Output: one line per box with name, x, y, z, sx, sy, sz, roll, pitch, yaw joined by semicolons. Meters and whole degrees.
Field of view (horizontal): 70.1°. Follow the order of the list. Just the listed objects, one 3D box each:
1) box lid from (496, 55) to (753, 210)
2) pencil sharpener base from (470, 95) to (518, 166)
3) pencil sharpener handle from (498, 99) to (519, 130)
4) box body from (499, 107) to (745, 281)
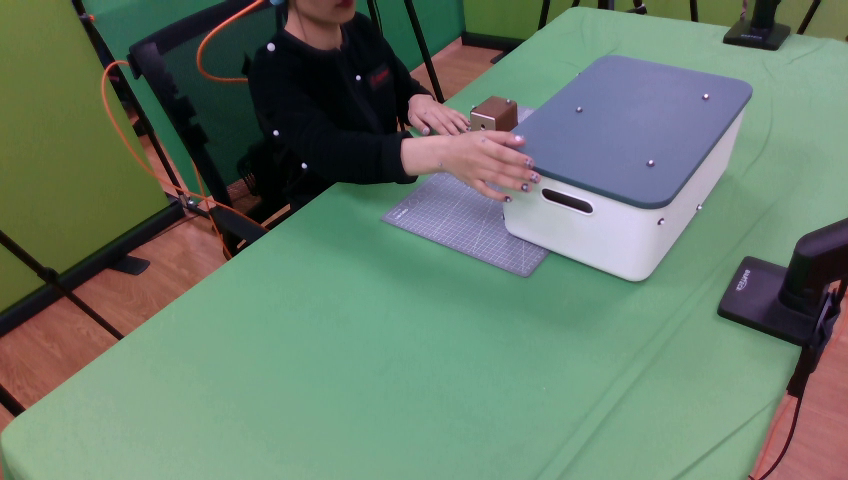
box lid;0.308;-0.181;0.911;0.261;0.015;0.372;24;50;31
pencil sharpener base;0.134;-0.205;1.128;0.061;0.107;0.077;23;50;33
pencil sharpener handle;0.165;-0.243;1.148;0.035;0.068;0.031;22;49;35
box body;0.315;-0.124;0.958;0.252;0.161;0.365;24;50;32
